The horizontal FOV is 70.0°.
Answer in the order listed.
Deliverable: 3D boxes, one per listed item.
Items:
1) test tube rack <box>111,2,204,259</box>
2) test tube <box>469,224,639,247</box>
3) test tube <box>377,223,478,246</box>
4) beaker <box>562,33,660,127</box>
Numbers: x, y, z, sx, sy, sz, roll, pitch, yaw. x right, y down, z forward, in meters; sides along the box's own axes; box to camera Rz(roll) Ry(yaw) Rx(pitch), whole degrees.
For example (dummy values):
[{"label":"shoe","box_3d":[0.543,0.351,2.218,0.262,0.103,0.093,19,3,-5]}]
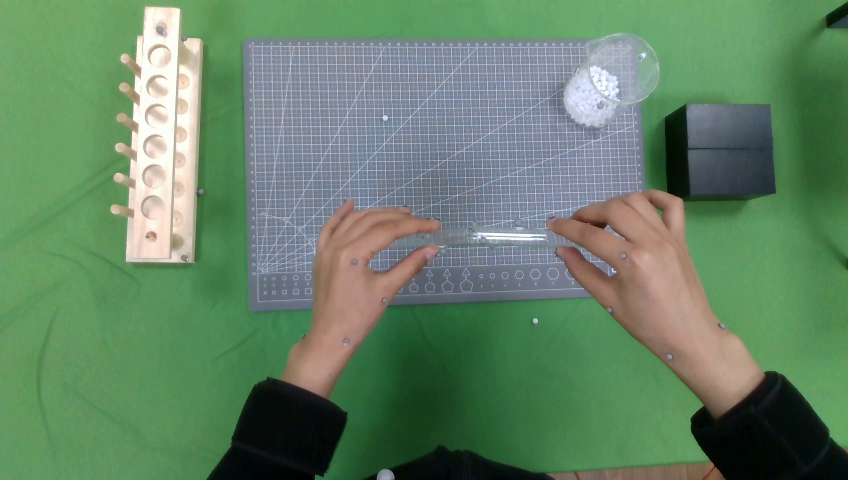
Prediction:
[{"label":"test tube rack","box_3d":[-0.272,-0.104,0.612,0.067,0.085,0.242,1,86,-5]},{"label":"test tube","box_3d":[0.109,-0.003,0.497,0.151,0.017,0.017,2,85,-15]},{"label":"test tube","box_3d":[-0.002,-0.003,0.545,0.017,0.149,0.017,1,88,-33]},{"label":"beaker","box_3d":[0.193,-0.169,0.654,0.084,0.100,0.074,36,83,0]}]
